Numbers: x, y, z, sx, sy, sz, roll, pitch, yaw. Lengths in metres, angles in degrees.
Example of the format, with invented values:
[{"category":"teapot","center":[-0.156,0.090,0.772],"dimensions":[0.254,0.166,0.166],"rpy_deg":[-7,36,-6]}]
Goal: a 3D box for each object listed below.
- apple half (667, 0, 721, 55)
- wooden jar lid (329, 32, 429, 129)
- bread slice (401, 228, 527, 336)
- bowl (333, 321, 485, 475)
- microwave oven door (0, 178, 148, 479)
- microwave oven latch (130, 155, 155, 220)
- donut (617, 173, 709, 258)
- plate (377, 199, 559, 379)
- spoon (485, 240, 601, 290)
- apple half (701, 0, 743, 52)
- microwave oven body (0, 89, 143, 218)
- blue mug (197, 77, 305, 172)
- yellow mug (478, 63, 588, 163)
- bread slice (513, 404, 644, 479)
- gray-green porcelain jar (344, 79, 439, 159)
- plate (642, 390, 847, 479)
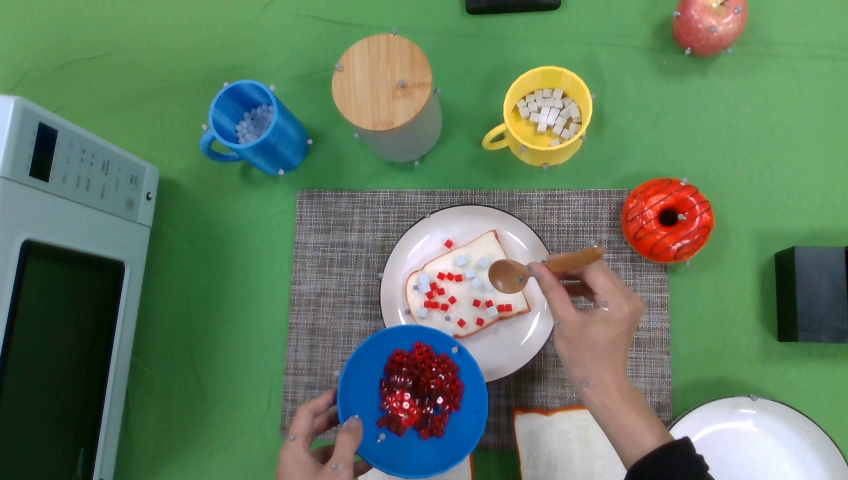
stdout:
[{"category":"apple half","center":[0.302,-0.242,0.700],"dimensions":[0.033,0.081,0.081],"rpy_deg":[-32,78,-3]},{"category":"wooden jar lid","center":[-0.047,-0.168,0.646],"dimensions":[0.108,0.021,0.108],"rpy_deg":[-2,79,8]},{"category":"bread slice","center":[0.040,0.058,0.706],"dimensions":[0.131,0.019,0.104],"rpy_deg":[-25,78,2]},{"category":"bowl","center":[-0.020,0.166,0.621],"dimensions":[0.152,0.077,0.150],"rpy_deg":[6,61,-10]},{"category":"microwave oven door","center":[-0.397,0.133,0.632],"dimensions":[0.039,0.245,0.354],"rpy_deg":[4,81,8]},{"category":"microwave oven latch","center":[-0.361,-0.066,0.762],"dimensions":[0.030,0.029,0.079],"rpy_deg":[6,83,8]},{"category":"donut","center":[0.268,-0.028,0.684],"dimensions":[0.099,0.048,0.098],"rpy_deg":[-1,82,7]},{"category":"plate","center":[0.051,0.057,0.704],"dimensions":[0.207,0.039,0.207],"rpy_deg":[-1,81,8]},{"category":"spoon","center":[0.106,0.025,0.567],"dimensions":[0.021,0.193,0.041],"rpy_deg":[-35,93,-19]},{"category":"apple half","center":[0.335,-0.263,0.701],"dimensions":[0.053,0.075,0.080],"rpy_deg":[-31,74,-3]},{"category":"microwave oven body","center":[-0.536,0.082,0.663],"dimensions":[0.325,0.261,0.440],"rpy_deg":[4,82,8]},{"category":"blue mug","center":[-0.216,-0.130,0.737],"dimensions":[0.116,0.106,0.082],"rpy_deg":[-25,78,4]},{"category":"yellow mug","center":[0.124,-0.141,0.714],"dimensions":[0.131,0.064,0.099],"rpy_deg":[-23,79,4]},{"category":"bread slice","center":[0.167,0.230,0.638],"dimensions":[0.135,0.018,0.106],"rpy_deg":[-4,77,-13]},{"category":"gray-green porcelain jar","center":[-0.039,-0.157,0.707],"dimensions":[0.106,0.127,0.105],"rpy_deg":[-1,80,8]},{"category":"plate","center":[0.333,0.263,0.637],"dimensions":[0.209,0.038,0.208],"rpy_deg":[-1,81,8]}]
